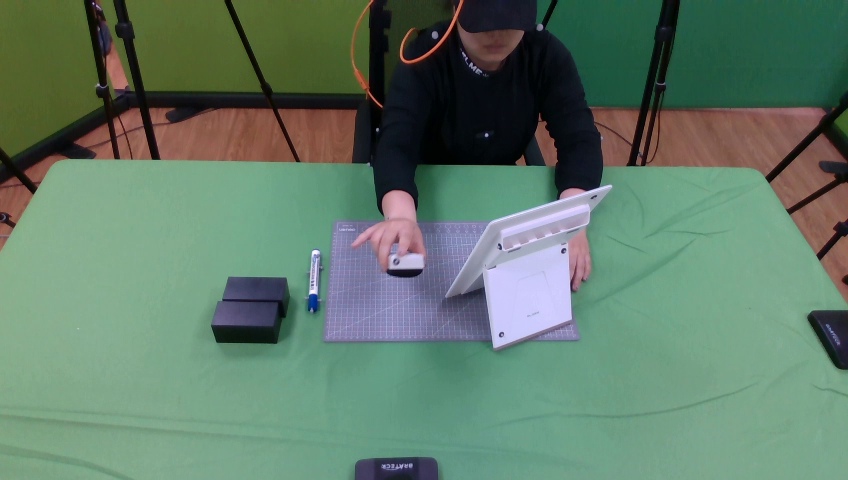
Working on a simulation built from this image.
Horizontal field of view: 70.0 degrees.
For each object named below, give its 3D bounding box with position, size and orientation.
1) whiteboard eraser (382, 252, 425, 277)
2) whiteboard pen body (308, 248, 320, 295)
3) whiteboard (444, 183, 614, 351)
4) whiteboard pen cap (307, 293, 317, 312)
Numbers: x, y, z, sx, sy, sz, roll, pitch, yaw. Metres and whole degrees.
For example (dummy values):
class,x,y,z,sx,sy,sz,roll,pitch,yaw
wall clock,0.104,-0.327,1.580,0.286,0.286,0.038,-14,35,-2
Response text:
class,x,y,z,sx,sy,sz,roll,pitch,yaw
whiteboard eraser,-0.036,0.040,0.994,0.056,0.112,0.042,3,88,-11
whiteboard pen body,-0.204,0.069,1.119,0.017,0.017,0.140,-1,46,-5
whiteboard,0.186,0.065,0.990,0.217,0.306,0.143,-16,69,-19
whiteboard pen cap,-0.199,0.110,1.078,0.018,0.018,0.033,-2,47,-6
